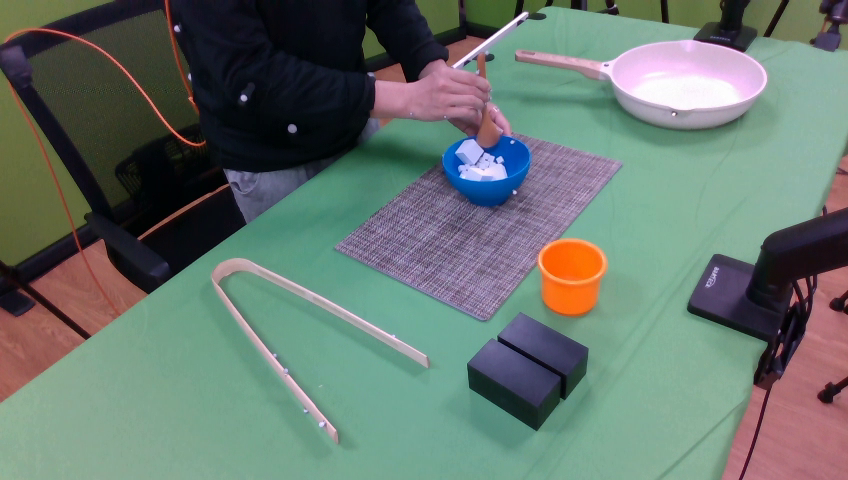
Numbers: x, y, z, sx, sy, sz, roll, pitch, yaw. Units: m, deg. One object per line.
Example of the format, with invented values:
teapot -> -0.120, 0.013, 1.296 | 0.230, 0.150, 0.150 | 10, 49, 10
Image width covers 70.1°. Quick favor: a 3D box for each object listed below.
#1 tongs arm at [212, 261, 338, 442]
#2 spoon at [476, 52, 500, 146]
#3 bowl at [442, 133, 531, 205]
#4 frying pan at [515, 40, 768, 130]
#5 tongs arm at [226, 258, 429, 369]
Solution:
tongs arm -> -0.208, 0.136, 0.830 | 0.051, 0.026, 0.381 | -31, 45, -28
spoon -> 0.097, -0.222, 0.978 | 0.041, 0.195, 0.021 | -10, 49, 4
bowl -> 0.108, -0.112, 1.033 | 0.151, 0.077, 0.150 | -4, 40, 4
frying pan -> 0.423, -0.338, 1.236 | 0.486, 0.103, 0.307 | 16, 44, 13
tongs arm -> -0.150, 0.098, 0.873 | 0.384, 0.028, 0.028 | 22, 50, 30
